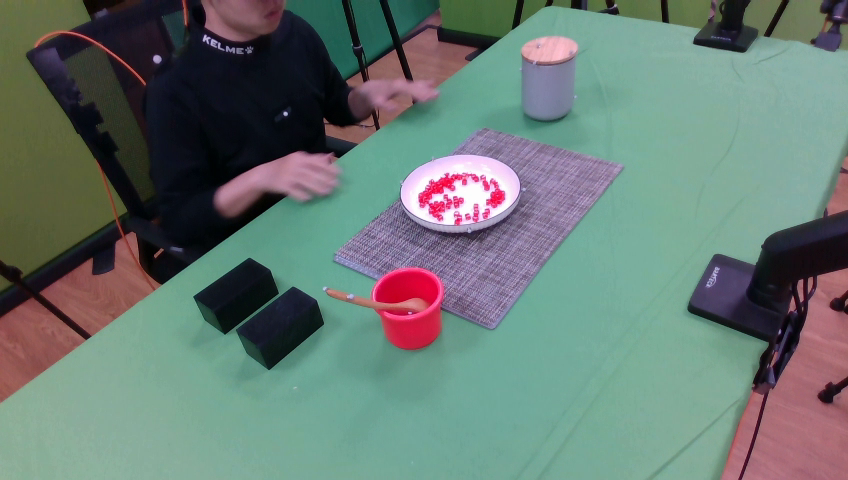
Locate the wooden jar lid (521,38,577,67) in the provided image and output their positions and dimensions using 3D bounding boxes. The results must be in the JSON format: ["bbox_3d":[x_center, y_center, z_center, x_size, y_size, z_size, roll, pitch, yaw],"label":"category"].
[{"bbox_3d":[0.243,-0.362,1.177,0.108,0.021,0.108,-5,43,5],"label":"wooden jar lid"}]

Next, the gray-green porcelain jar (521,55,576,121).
[{"bbox_3d":[0.249,-0.313,1.219,0.106,0.127,0.105,-4,41,4],"label":"gray-green porcelain jar"}]

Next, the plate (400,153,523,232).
[{"bbox_3d":[0.065,-0.078,1.034,0.207,0.039,0.206,-4,41,4],"label":"plate"}]

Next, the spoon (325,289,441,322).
[{"bbox_3d":[-0.047,0.084,0.776,0.195,0.021,0.041,13,26,-42],"label":"spoon"}]
